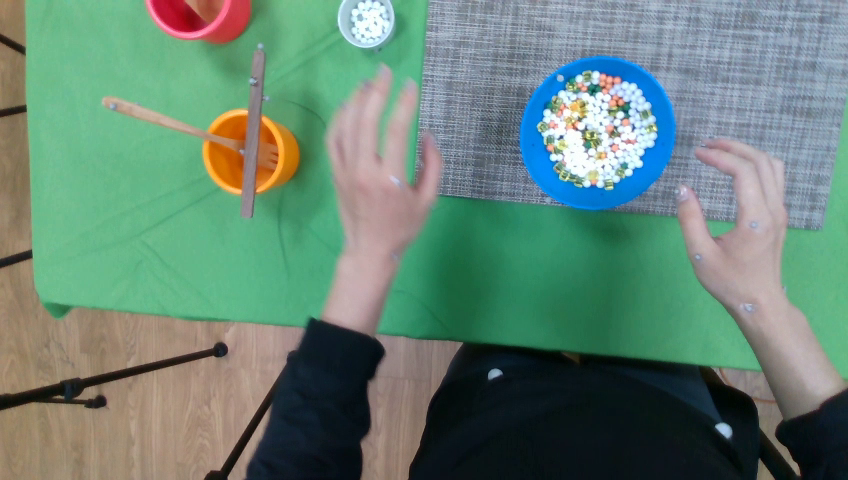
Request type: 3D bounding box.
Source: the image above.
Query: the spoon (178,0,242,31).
[{"bbox_3d":[-0.287,-0.274,0.637,0.195,0.021,0.041,15,101,-39],"label":"spoon"}]

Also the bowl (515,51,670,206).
[{"bbox_3d":[0.170,-0.113,0.635,0.151,0.077,0.151,1,98,7],"label":"bowl"}]

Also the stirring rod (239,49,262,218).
[{"bbox_3d":[-0.184,-0.111,0.643,0.014,0.006,0.176,7,99,6],"label":"stirring rod"}]

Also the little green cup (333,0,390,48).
[{"bbox_3d":[-0.066,-0.242,0.668,0.061,0.038,0.061,1,99,7],"label":"little green cup"}]

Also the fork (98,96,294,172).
[{"bbox_3d":[-0.236,-0.113,0.651,0.209,0.018,0.028,16,106,-39],"label":"fork"}]
